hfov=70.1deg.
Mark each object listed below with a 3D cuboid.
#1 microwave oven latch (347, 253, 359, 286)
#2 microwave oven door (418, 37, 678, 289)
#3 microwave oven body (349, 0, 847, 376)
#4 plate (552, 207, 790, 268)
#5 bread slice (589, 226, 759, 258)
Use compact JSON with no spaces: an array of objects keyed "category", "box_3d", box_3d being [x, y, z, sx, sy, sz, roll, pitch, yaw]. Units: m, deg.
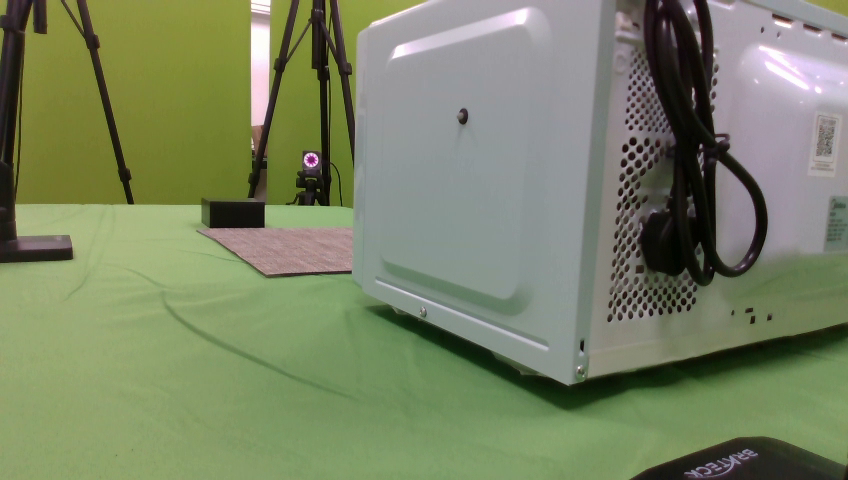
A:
[{"category":"microwave oven latch","box_3d":[-0.034,0.028,0.581,0.079,0.029,0.030,-1,7,-31]},{"category":"microwave oven door","box_3d":[0.159,-0.079,0.684,0.358,0.243,0.039,-2,9,-32]},{"category":"microwave oven body","box_3d":[0.199,-0.053,0.540,0.444,0.260,0.324,-1,8,-32]},{"category":"plate","box_3d":[0.225,-0.005,0.572,0.209,0.038,0.209,4,7,0]},{"category":"bread slice","box_3d":[0.226,0.001,0.568,0.132,0.019,0.104,3,5,-23]}]
